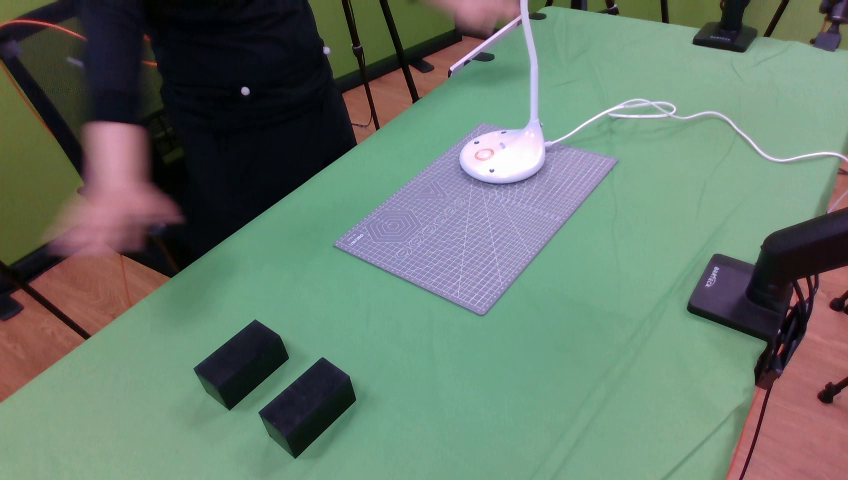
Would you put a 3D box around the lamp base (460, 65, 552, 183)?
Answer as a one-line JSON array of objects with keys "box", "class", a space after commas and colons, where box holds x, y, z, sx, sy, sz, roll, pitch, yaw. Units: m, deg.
[{"box": [0.149, -0.218, 1.078, 0.180, 0.181, 0.159, -19, 41, -17], "class": "lamp base"}]
